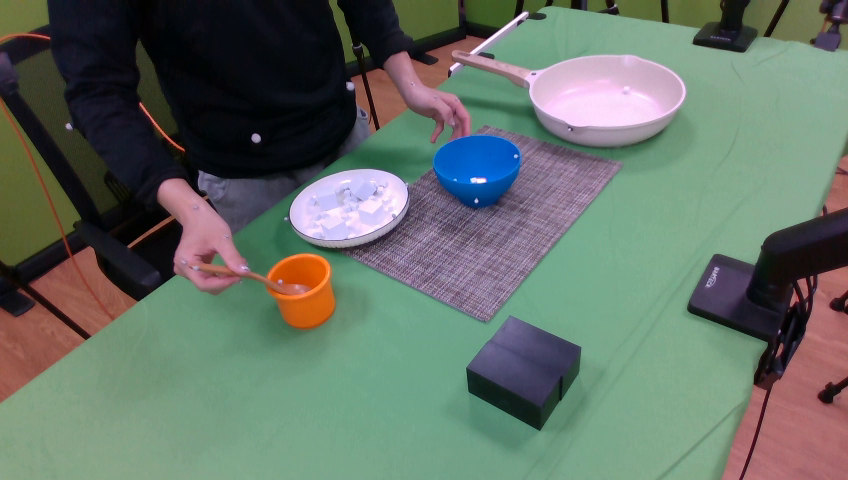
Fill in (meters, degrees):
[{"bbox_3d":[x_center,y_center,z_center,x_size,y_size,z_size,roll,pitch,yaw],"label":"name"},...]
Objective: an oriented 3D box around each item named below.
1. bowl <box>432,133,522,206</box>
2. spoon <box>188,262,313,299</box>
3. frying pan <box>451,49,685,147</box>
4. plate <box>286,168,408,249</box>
[{"bbox_3d":[0.092,-0.110,1.034,0.151,0.077,0.150,-4,40,4],"label":"bowl"},{"bbox_3d":[-0.221,0.051,0.791,0.041,0.195,0.021,32,93,39],"label":"spoon"},{"bbox_3d":[0.269,-0.316,1.233,0.485,0.103,0.307,26,49,21],"label":"frying pan"},{"bbox_3d":[-0.127,-0.050,1.028,0.207,0.039,0.206,-5,39,5],"label":"plate"}]
